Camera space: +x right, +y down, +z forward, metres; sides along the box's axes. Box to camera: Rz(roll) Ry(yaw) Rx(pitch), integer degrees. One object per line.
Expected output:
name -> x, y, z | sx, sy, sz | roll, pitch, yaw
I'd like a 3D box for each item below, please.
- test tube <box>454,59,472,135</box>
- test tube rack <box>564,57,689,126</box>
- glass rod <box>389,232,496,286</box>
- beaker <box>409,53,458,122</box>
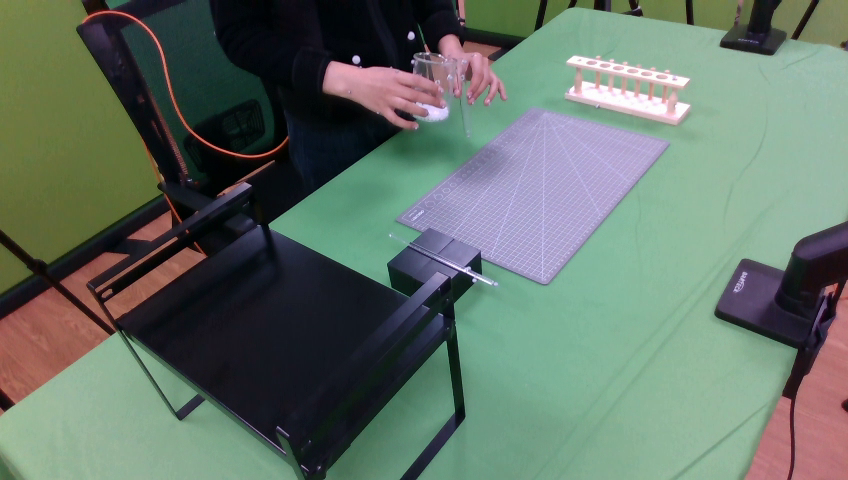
test tube -> 0.072, -0.257, 1.098 | 0.017, 0.151, 0.017 | -7, 41, 6
test tube rack -> 0.411, -0.311, 1.230 | 0.240, 0.085, 0.067 | 23, 49, 31
glass rod -> 0.022, 0.025, 0.878 | 0.198, 0.008, 0.008 | 25, 50, 33
beaker -> 0.015, -0.256, 1.016 | 0.073, 0.100, 0.084 | 20, 29, 22
